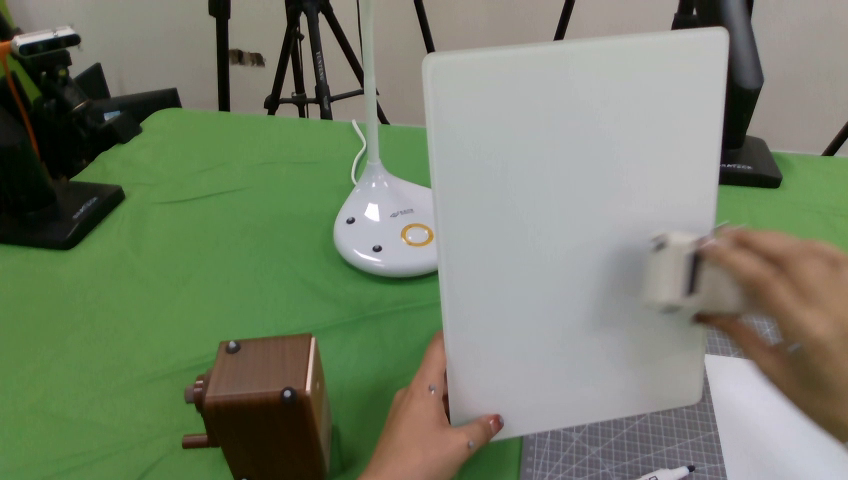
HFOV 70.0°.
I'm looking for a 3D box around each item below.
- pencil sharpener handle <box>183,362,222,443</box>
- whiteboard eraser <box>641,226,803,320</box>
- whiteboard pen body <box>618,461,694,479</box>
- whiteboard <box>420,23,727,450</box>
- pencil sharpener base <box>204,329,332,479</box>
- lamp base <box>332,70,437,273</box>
[{"bbox_3d":[-0.165,0.122,0.443,0.031,0.068,0.035,-4,26,-3],"label":"pencil sharpener handle"},{"bbox_3d":[0.210,0.024,0.433,0.113,0.055,0.041,7,6,-14],"label":"whiteboard eraser"},{"bbox_3d":[0.139,0.185,0.444,0.141,0.017,0.017,-13,39,-15],"label":"whiteboard pen body"},{"bbox_3d":[0.107,-0.011,0.513,0.217,0.307,0.143,-8,19,-7],"label":"whiteboard"},{"bbox_3d":[-0.114,0.126,0.456,0.077,0.108,0.060,-4,39,-3],"label":"pencil sharpener base"},{"bbox_3d":[-0.035,-0.083,0.663,0.161,0.182,0.177,-26,42,-28],"label":"lamp base"}]
